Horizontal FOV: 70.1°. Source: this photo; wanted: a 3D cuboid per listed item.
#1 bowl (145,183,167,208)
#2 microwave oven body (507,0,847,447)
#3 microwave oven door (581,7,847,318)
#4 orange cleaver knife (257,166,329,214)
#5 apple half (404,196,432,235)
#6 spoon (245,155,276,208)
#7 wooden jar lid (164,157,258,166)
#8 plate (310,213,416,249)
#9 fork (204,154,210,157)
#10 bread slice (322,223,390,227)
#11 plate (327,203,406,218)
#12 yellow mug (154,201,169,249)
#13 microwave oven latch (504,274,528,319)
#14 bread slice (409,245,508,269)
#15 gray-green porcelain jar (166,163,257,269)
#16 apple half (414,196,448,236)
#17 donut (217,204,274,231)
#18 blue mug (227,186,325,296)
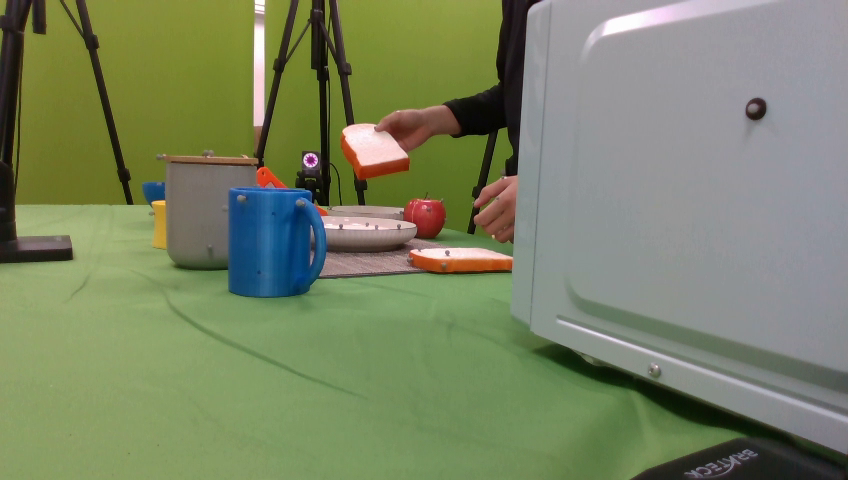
[{"bbox_3d":[-0.459,-0.069,1.175,0.151,0.077,0.151,3,7,0],"label":"bowl"},{"bbox_3d":[0.331,-0.042,0.425,0.444,0.260,0.324,-2,8,-31],"label":"microwave oven body"},{"bbox_3d":[0.295,-0.067,0.569,0.358,0.243,0.039,-3,8,-31],"label":"microwave oven door"},{"bbox_3d":[-0.295,-0.086,1.333,0.012,0.077,0.212,3,-24,46],"label":"orange cleaver knife"},{"bbox_3d":[-0.005,-0.048,1.149,0.081,0.074,0.053,-7,5,-40],"label":"apple half"},{"bbox_3d":[-0.421,-0.150,1.540,0.042,0.021,0.193,-5,55,-37],"label":"spoon"},{"bbox_3d":[-0.261,-0.093,0.746,0.108,0.020,0.108,0,9,0],"label":"wooden jar lid"},{"bbox_3d":[-0.117,-0.014,0.967,0.208,0.039,0.207,2,8,0],"label":"plate"},{"bbox_3d":[-0.480,-0.136,1.412,0.028,0.018,0.207,0,-34,-1],"label":"fork"},{"bbox_3d":[-0.116,-0.014,0.974,0.135,0.018,0.106,-6,11,-42],"label":"bread slice"},{"bbox_3d":[-0.102,-0.053,1.299,0.209,0.038,0.209,2,8,0],"label":"plate"},{"bbox_3d":[-0.337,-0.022,0.899,0.130,0.064,0.100,8,9,34],"label":"yellow mug"},{"bbox_3d":[0.100,0.041,0.471,0.079,0.029,0.030,-1,7,-28],"label":"microwave oven latch"},{"bbox_3d":[0.048,0.021,0.816,0.132,0.019,0.104,0,7,-24],"label":"bread slice"},{"bbox_3d":[-0.263,-0.032,0.754,0.106,0.126,0.106,2,7,0],"label":"gray-green porcelain jar"},{"bbox_3d":[0.020,-0.045,1.121,0.082,0.081,0.032,-5,6,-39],"label":"apple half"},{"bbox_3d":[-0.318,-0.038,1.080,0.099,0.048,0.099,3,7,0],"label":"donut"},{"bbox_3d":[-0.147,0.000,0.618,0.116,0.106,0.083,7,9,32],"label":"blue mug"}]
